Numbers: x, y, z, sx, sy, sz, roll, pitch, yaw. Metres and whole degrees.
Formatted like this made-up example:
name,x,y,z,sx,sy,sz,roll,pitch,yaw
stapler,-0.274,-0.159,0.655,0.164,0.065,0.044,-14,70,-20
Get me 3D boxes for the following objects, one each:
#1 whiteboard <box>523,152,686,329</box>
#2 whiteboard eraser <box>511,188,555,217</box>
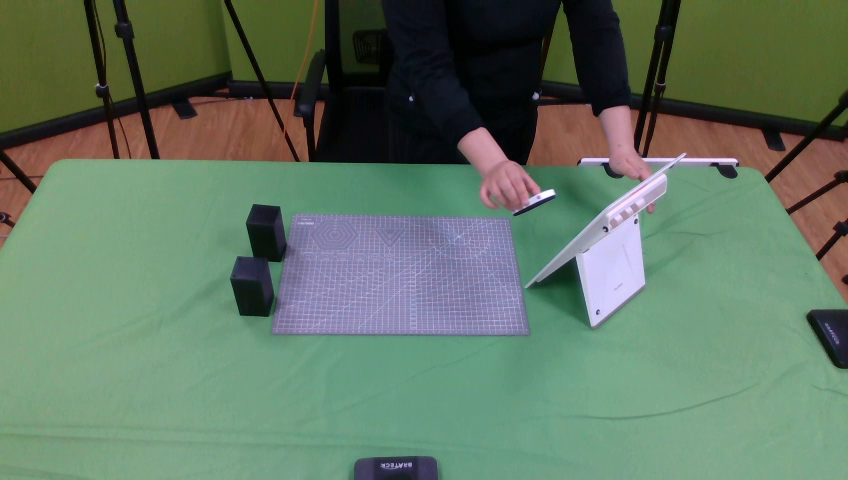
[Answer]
name,x,y,z,sx,sy,sz,roll,pitch,yaw
whiteboard,0.346,0.024,1.047,0.217,0.306,0.143,-30,74,-29
whiteboard eraser,0.188,-0.066,1.049,0.041,0.101,0.019,-21,85,-30
